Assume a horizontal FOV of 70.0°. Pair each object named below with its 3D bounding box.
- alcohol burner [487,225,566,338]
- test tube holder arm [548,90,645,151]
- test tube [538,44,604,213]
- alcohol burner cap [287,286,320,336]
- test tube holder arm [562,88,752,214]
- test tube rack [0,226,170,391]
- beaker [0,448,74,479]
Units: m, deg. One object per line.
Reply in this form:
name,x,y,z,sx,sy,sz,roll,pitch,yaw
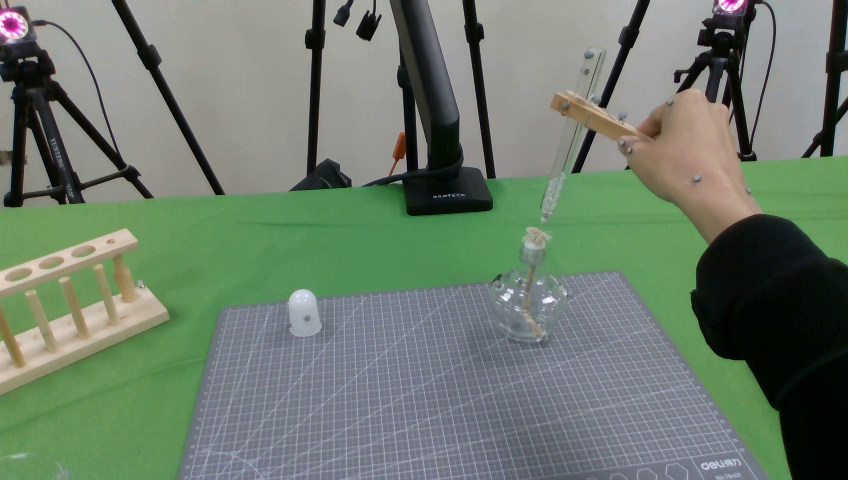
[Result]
alcohol burner,0.101,0.036,0.589,0.078,0.120,0.077,1,32,0
test tube holder arm,0.140,-0.098,0.491,0.087,0.015,0.010,36,39,25
test tube,0.123,-0.090,0.517,0.017,0.151,0.017,9,29,-5
alcohol burner cap,-0.124,0.069,0.610,0.034,0.048,0.033,-1,32,1
test tube holder arm,0.174,-0.074,0.473,0.013,0.015,0.176,-19,49,-39
test tube rack,-0.380,0.076,0.570,0.243,0.086,0.066,-26,40,-34
beaker,-0.246,0.190,0.371,0.084,0.101,0.073,-1,32,2
